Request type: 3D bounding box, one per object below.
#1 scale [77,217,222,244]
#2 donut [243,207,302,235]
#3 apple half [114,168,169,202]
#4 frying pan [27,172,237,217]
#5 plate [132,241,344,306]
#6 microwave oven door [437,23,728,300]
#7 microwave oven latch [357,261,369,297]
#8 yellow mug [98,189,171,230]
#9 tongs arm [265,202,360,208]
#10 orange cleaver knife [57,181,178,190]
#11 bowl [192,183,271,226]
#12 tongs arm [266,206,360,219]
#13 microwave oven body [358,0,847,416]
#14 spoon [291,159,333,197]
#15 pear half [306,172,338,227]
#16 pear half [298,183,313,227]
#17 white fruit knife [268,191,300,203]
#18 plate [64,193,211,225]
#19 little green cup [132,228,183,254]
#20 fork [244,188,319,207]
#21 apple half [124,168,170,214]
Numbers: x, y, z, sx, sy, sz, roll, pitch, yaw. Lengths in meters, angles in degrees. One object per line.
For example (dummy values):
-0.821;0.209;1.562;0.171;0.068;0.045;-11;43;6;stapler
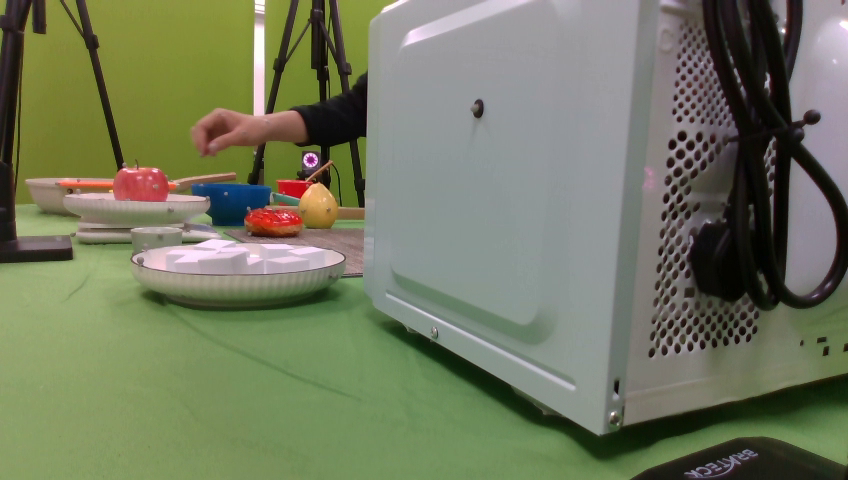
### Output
-0.434;-0.018;0.963;0.202;0.031;0.148;-1;8;-27;scale
-0.261;-0.032;1.043;0.099;0.048;0.099;4;8;0;donut
-0.445;-0.075;0.938;0.081;0.074;0.053;6;11;8;apple half
-0.624;-0.118;1.387;0.305;0.102;0.490;8;17;32;frying pan
-0.187;0.033;0.625;0.208;0.039;0.207;2;7;0;plate
0.180;-0.073;0.621;0.358;0.243;0.039;-2;9;-29;microwave oven door
-0.019;0.033;0.530;0.079;0.029;0.030;-1;7;-26;microwave oven latch
-0.519;-0.055;1.081;0.099;0.064;0.131;7;9;26;yellow mug
-0.211;-0.071;1.440;0.389;0.027;0.028;2;1;-17;tongs arm
-0.600;-0.109;1.189;0.212;0.012;0.077;-1;11;-26;orange cleaver knife
-0.382;-0.070;1.202;0.151;0.077;0.151;3;7;0;bowl
-0.174;-0.061;1.363;0.387;0.026;0.050;-1;5;-32;tongs arm
0.211;-0.047;0.474;0.444;0.260;0.324;-1;7;-28;microwave oven body
-0.317;-0.159;1.640;0.194;0.022;0.041;-49;32;-20;spoon
-0.199;-0.079;1.203;0.056;0.110;0.076;3;11;1;pear half
-0.235;-0.071;1.207;0.031;0.088;0.070;3;10;0;pear half
-0.364;-0.105;1.464;0.208;0.027;0.016;15;-1;-34;white fruit knife
-0.446;-0.051;0.952;0.209;0.038;0.209;2;7;0;plate
-0.342;0.006;0.779;0.061;0.038;0.061;2;8;0;little green cup
-0.356;-0.105;1.526;0.208;0.018;0.028;16;-4;-41;fork
-0.440;-0.080;0.976;0.081;0.081;0.033;3;11;8;apple half
